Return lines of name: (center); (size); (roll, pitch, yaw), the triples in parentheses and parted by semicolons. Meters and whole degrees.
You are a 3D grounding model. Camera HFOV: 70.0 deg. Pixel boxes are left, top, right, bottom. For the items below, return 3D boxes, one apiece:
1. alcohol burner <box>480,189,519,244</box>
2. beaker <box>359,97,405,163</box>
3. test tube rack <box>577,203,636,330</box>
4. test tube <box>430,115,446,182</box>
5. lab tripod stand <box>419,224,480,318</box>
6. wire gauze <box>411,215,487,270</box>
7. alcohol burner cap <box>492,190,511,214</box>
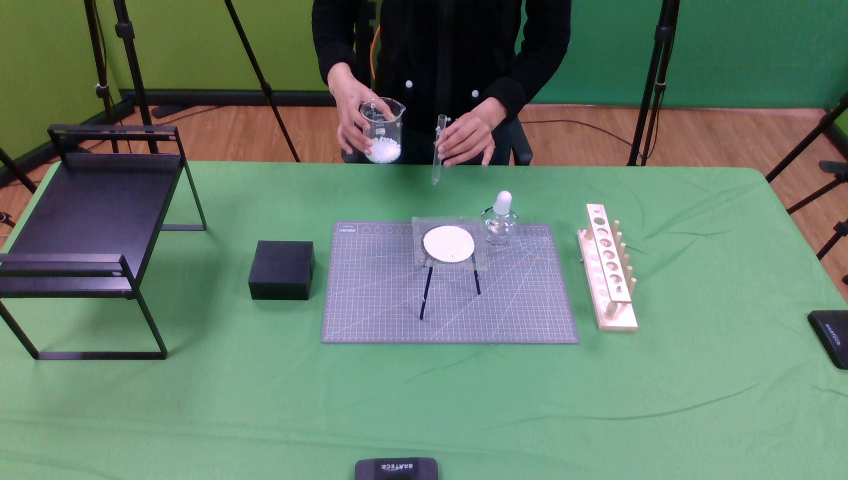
alcohol burner: (0.150, -0.051, 1.191); (0.078, 0.120, 0.077); (1, 47, -1)
beaker: (-0.075, -0.197, 1.096); (0.084, 0.101, 0.073); (-16, 51, -17)
test tube rack: (0.348, 0.045, 1.138); (0.067, 0.085, 0.241); (2, 46, -2)
test tube: (0.025, -0.165, 1.114); (0.017, 0.151, 0.017); (3, 46, -3)
lab tripod stand: (0.034, 0.052, 1.070); (0.148, 0.132, 0.147); (3, 48, -3)
wire gauze: (0.041, 0.002, 1.026); (0.125, 0.011, 0.120); (1, 46, -3)
alcohol burner cap: (0.151, -0.076, 1.166); (0.034, 0.048, 0.033); (5, 52, -6)
